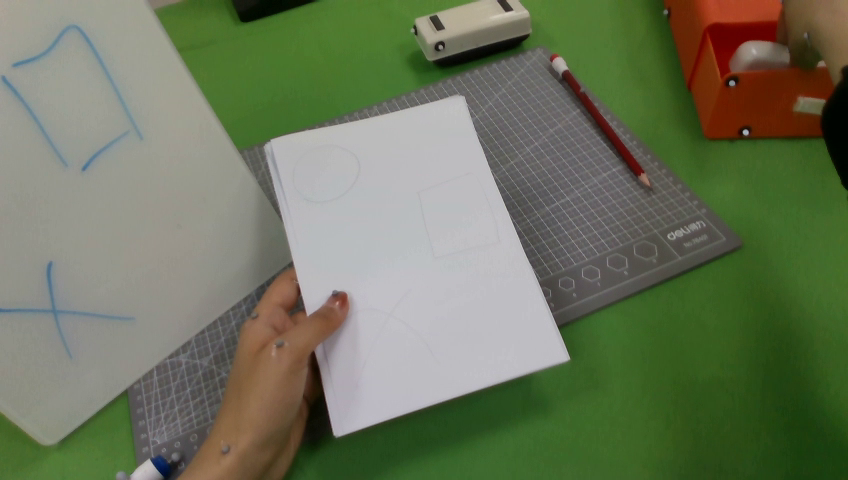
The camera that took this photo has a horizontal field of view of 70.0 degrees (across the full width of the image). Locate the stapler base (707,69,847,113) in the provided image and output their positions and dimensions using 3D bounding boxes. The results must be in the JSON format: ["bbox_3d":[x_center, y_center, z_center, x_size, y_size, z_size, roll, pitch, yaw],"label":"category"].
[{"bbox_3d":[0.316,-0.133,0.526,0.130,0.024,0.041,4,50,0],"label":"stapler base"}]

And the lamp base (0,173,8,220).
[{"bbox_3d":[-0.472,-0.064,0.478,0.178,0.182,0.159,10,54,17],"label":"lamp base"}]

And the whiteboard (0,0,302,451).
[{"bbox_3d":[-0.265,-0.057,0.405,0.217,0.308,0.142,-40,38,-21],"label":"whiteboard"}]

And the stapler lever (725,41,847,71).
[{"bbox_3d":[0.318,-0.147,0.512,0.118,0.040,0.026,0,50,5],"label":"stapler lever"}]

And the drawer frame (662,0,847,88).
[{"bbox_3d":[0.341,-0.242,0.580,0.201,0.083,0.211,-1,53,7],"label":"drawer frame"}]

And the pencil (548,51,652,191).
[{"bbox_3d":[0.156,-0.112,0.547,0.012,0.012,0.192,-17,55,-6],"label":"pencil"}]

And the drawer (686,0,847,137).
[{"bbox_3d":[0.337,-0.190,0.544,0.194,0.074,0.210,-1,52,7],"label":"drawer"}]

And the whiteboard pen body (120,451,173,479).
[{"bbox_3d":[-0.213,0.178,0.358,0.140,0.017,0.017,-38,57,-23],"label":"whiteboard pen body"}]

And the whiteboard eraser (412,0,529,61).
[{"bbox_3d":[0.047,-0.218,0.626,0.113,0.042,0.055,-17,53,-6],"label":"whiteboard eraser"}]
